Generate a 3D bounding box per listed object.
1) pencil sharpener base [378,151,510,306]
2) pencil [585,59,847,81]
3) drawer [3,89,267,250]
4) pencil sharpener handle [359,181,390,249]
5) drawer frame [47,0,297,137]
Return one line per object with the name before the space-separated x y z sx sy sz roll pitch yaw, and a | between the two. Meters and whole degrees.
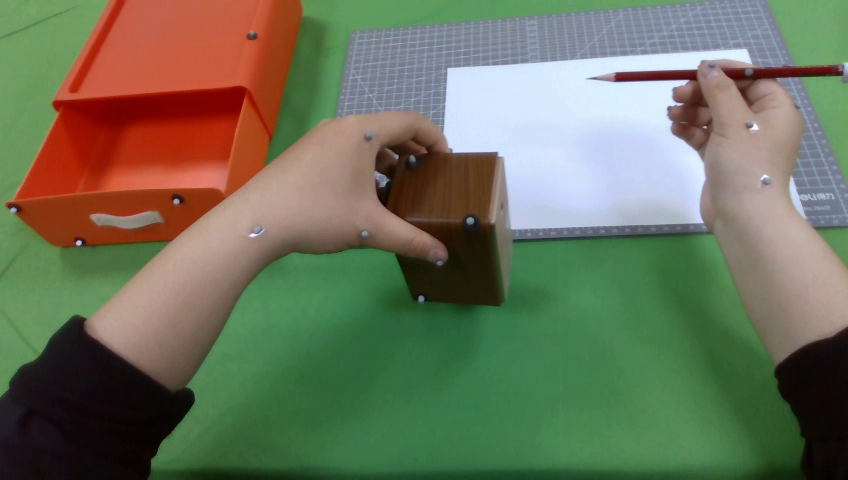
pencil sharpener base | 0.016 -0.005 0.418 0.076 0.108 0.061 1 57 13
pencil | 0.214 -0.119 0.429 0.193 0.012 0.012 3 56 19
drawer | -0.256 -0.097 0.583 0.194 0.074 0.209 -4 55 7
pencil sharpener handle | -0.036 -0.013 0.419 0.030 0.068 0.035 1 58 13
drawer frame | -0.254 -0.196 0.647 0.201 0.083 0.211 -4 55 7
